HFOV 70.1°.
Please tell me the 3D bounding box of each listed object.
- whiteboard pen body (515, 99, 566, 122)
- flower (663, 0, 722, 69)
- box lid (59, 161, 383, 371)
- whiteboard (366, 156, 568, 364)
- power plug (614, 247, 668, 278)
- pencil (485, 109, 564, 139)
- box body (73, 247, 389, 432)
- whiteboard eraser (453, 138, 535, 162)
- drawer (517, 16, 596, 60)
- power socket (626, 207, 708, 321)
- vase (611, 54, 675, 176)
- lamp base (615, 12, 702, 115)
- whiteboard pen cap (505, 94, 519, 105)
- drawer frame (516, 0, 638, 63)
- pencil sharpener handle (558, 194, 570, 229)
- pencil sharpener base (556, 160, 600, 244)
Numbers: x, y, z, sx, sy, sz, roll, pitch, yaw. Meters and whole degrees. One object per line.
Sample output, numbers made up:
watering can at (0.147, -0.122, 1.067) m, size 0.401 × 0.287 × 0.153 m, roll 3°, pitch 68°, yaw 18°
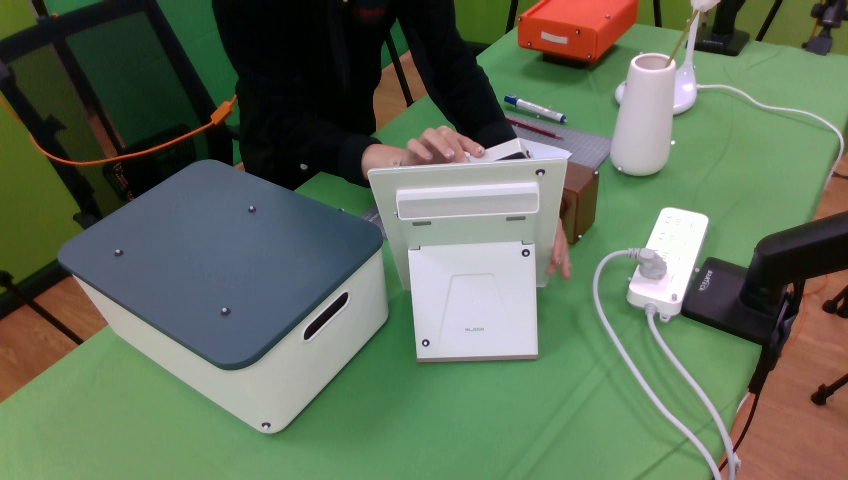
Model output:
whiteboard pen body at (0.233, -0.274, 1.262) m, size 0.139 × 0.017 × 0.017 m, roll 28°, pitch 51°, yaw 29°
flower at (0.379, -0.261, 0.965) m, size 0.044 × 0.362 × 0.038 m, roll 20°, pitch 53°, yaw 5°
box lid at (-0.262, 0.010, 0.777) m, size 0.369 × 0.015 × 0.264 m, roll 21°, pitch 48°, yaw 29°
whiteboard at (0.059, 0.050, 0.738) m, size 0.217 × 0.307 × 0.143 m, roll -2°, pitch 60°, yaw 6°
power plug at (0.306, 0.031, 0.851) m, size 0.072 × 0.053 × 0.035 m, roll 24°, pitch 49°, yaw 33°
pencil at (0.201, -0.235, 1.228) m, size 0.192 × 0.012 × 0.012 m, roll 28°, pitch 51°, yaw 33°
box body at (-0.255, 0.065, 0.827) m, size 0.361 × 0.161 × 0.255 m, roll 21°, pitch 48°, yaw 29°
whiteboard eraser at (0.073, -0.078, 0.710) m, size 0.112 × 0.056 × 0.041 m, roll -17°, pitch 66°, yaw 25°
drawer at (0.352, -0.506, 1.405) m, size 0.193 × 0.073 × 0.212 m, roll 23°, pitch 49°, yaw 32°
power socket at (0.359, 0.025, 0.886) m, size 0.072 × 0.033 × 0.227 m, roll 16°, pitch 46°, yaw 26°
vase at (0.377, -0.209, 1.031) m, size 0.098 × 0.201 × 0.097 m, roll -3°, pitch 40°, yaw 3°
lamp base at (0.484, -0.364, 1.211) m, size 0.180 × 0.181 × 0.159 m, roll -15°, pitch 41°, yaw -14°
whiteboard pen cap at (0.190, -0.299, 1.292) m, size 0.033 × 0.018 × 0.018 m, roll 30°, pitch 52°, yaw 28°
drawer frame at (0.355, -0.508, 1.410) m, size 0.200 × 0.083 × 0.214 m, roll 23°, pitch 51°, yaw 32°
pencil sharpener handle at (0.195, -0.038, 0.908) m, size 0.035 × 0.068 × 0.031 m, roll 23°, pitch 50°, yaw 32°
pencil sharpener base at (0.228, -0.057, 0.945) m, size 0.061 × 0.107 × 0.077 m, roll 24°, pitch 50°, yaw 31°
